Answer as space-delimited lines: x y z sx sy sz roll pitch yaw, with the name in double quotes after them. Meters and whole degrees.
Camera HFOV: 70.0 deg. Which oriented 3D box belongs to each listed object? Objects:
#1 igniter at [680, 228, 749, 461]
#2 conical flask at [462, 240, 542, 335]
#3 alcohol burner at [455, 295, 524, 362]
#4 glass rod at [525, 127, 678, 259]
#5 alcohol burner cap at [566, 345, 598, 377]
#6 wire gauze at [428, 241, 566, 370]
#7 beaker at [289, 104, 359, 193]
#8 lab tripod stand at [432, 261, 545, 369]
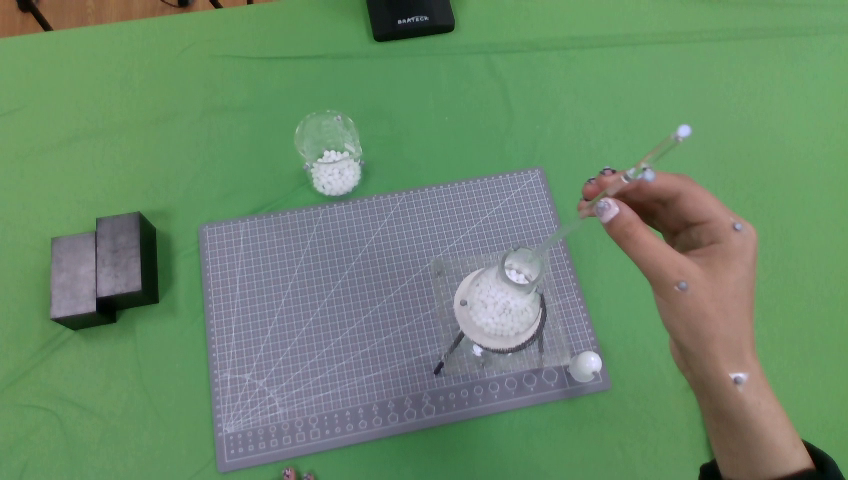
0.342 0.116 0.718 0.057 0.025 0.274 4 68 -11 "igniter"
0.076 0.038 0.544 0.075 0.122 0.075 1 70 -2 "conical flask"
0.073 0.094 0.668 0.078 0.120 0.077 0 69 1 "alcohol burner"
0.104 -0.020 0.392 0.008 0.200 0.008 4 69 -11 "glass rod"
0.183 0.136 0.693 0.034 0.048 0.033 0 69 -1 "alcohol burner cap"
0.071 0.064 0.598 0.125 0.011 0.120 -4 72 -5 "wire gauze"
-0.117 -0.108 0.750 0.084 0.101 0.073 23 70 7 "beaker"
0.072 0.089 0.659 0.148 0.132 0.147 1 71 -1 "lab tripod stand"
